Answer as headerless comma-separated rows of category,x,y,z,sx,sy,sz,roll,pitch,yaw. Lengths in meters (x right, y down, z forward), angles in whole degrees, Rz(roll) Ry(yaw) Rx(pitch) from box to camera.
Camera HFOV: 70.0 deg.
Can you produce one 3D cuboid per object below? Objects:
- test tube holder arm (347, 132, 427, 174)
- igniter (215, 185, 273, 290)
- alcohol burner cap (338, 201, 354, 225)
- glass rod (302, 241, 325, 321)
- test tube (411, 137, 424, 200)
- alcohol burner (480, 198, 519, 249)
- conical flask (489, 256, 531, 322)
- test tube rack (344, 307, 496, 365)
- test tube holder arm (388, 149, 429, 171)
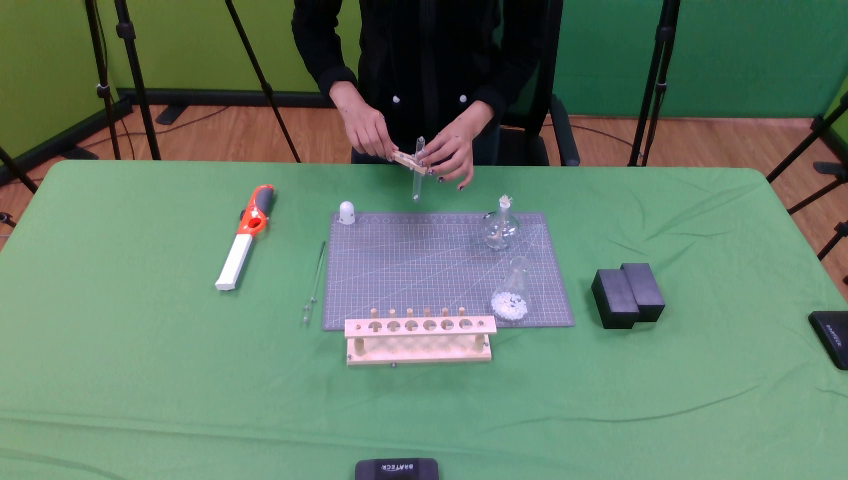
test tube holder arm,-0.073,-0.168,1.163,0.178,0.015,0.013,25,44,16
igniter,-0.348,-0.014,1.182,0.057,0.025,0.275,-1,45,8
alcohol burner cap,-0.159,-0.056,1.224,0.034,0.048,0.033,2,46,-2
glass rod,-0.204,0.072,1.124,0.008,0.008,0.198,4,43,1
test tube,-0.013,-0.133,1.157,0.017,0.151,0.017,3,48,-3
alcohol burner,0.150,-0.039,1.182,0.078,0.119,0.077,3,47,-3
conical flask,0.158,0.081,1.061,0.075,0.122,0.075,2,46,-2
test tube rack,-0.009,0.154,1.007,0.242,0.085,0.066,-1,46,-5
test tube holder arm,-0.031,-0.153,1.156,0.087,0.015,0.010,21,43,12
